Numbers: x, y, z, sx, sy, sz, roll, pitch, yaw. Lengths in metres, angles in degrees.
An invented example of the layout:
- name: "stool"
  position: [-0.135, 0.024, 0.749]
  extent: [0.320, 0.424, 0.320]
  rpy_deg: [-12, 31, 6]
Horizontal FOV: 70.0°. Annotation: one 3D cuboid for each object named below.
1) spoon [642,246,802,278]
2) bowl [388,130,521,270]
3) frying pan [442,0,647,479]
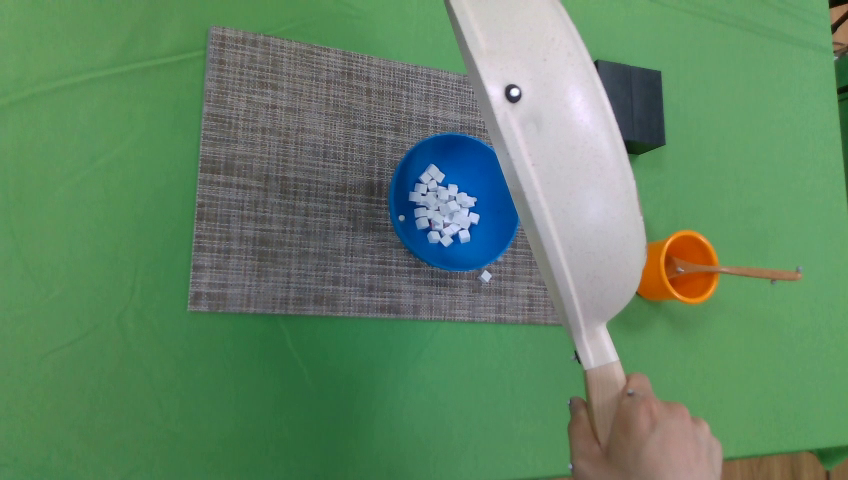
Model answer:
- name: "spoon"
  position: [0.363, 0.034, 0.759]
  extent: [0.022, 0.193, 0.041]
  rpy_deg: [31, 66, -62]
- name: "bowl"
  position: [0.025, -0.038, 0.672]
  extent: [0.152, 0.076, 0.151]
  rpy_deg: [3, 82, -20]
- name: "frying pan"
  position: [0.109, 0.031, 0.447]
  extent: [0.102, 0.308, 0.485]
  rpy_deg: [-13, 79, 10]
